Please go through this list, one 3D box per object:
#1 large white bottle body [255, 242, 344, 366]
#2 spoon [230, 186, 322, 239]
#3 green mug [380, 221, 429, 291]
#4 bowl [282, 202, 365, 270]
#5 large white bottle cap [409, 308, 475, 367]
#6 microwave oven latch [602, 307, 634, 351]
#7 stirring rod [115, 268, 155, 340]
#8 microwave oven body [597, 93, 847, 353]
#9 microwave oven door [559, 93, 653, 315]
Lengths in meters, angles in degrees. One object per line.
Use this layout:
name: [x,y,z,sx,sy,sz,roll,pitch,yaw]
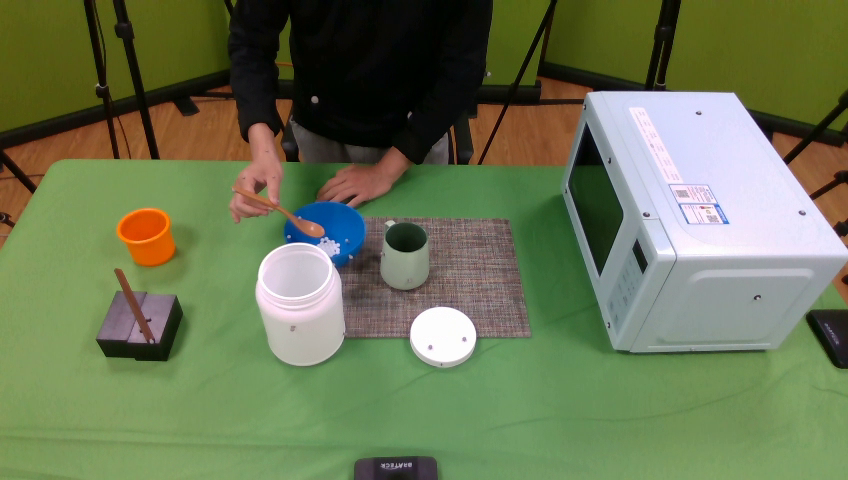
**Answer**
large white bottle body: [-0.196,0.102,0.967,0.131,0.185,0.130,2,49,-2]
spoon: [-0.257,-0.050,1.067,0.021,0.195,0.041,-35,45,20]
green mug: [-0.043,0.020,1.116,0.092,0.105,0.124,-20,50,-21]
bowl: [-0.186,0.006,1.136,0.151,0.077,0.150,3,45,-3]
large white bottle cap: [0.031,0.166,1.041,0.115,0.018,0.114,2,47,-2]
microwave oven latch: [0.332,0.153,1.044,0.030,0.029,0.078,0,45,-4]
stirring rod: [-0.478,0.103,0.999,0.014,0.006,0.175,8,32,-49]
microwave oven body: [0.475,-0.041,1.109,0.326,0.261,0.438,-1,45,-4]
microwave oven door: [0.327,-0.074,1.123,0.039,0.245,0.353,-1,46,-5]
